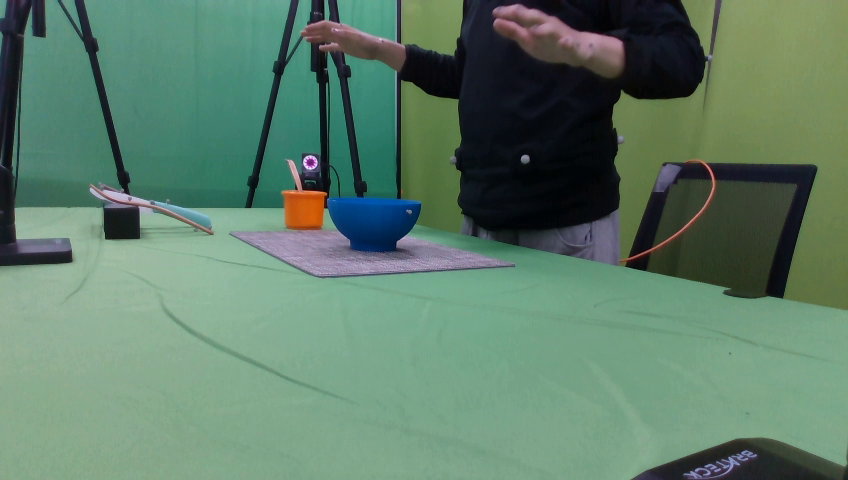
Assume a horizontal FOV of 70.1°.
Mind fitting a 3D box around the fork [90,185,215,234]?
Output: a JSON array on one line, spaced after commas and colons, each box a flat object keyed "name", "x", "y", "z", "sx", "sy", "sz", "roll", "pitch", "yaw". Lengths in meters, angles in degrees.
[{"name": "fork", "x": -0.452, "y": -0.049, "z": 1.018, "sx": 0.208, "sy": 0.018, "sz": 0.028, "roll": 21, "pitch": -7, "yaw": -33}]

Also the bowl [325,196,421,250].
[{"name": "bowl", "x": -0.081, "y": -0.027, "z": 0.957, "sx": 0.151, "sy": 0.077, "sz": 0.151, "roll": 2, "pitch": 7, "yaw": 0}]

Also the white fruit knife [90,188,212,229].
[{"name": "white fruit knife", "x": -0.478, "y": -0.058, "z": 1.073, "sx": 0.208, "sy": 0.027, "sz": 0.016, "roll": 17, "pitch": -5, "yaw": -30}]

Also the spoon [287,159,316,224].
[{"name": "spoon", "x": -0.261, "y": -0.104, "z": 1.263, "sx": 0.042, "sy": 0.193, "sz": 0.021, "roll": -1, "pitch": -37, "yaw": -28}]

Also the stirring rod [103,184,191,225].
[{"name": "stirring rod", "x": -0.507, "y": -0.063, "z": 1.129, "sx": 0.177, "sy": 0.006, "sz": 0.014, "roll": 27, "pitch": 1, "yaw": -31}]
